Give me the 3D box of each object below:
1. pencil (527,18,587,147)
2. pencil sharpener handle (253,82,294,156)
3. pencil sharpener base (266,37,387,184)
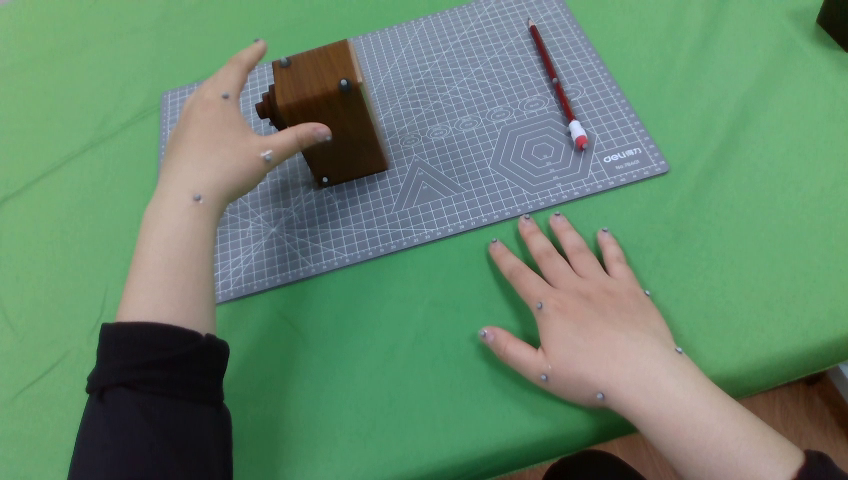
[{"bbox_3d":[0.123,-0.158,0.580,0.012,0.012,0.192,-13,54,3],"label":"pencil"},{"bbox_3d":[-0.134,-0.100,0.518,0.030,0.068,0.035,-17,51,1],"label":"pencil sharpener handle"},{"bbox_3d":[-0.083,-0.109,0.528,0.077,0.108,0.060,-17,55,1],"label":"pencil sharpener base"}]
